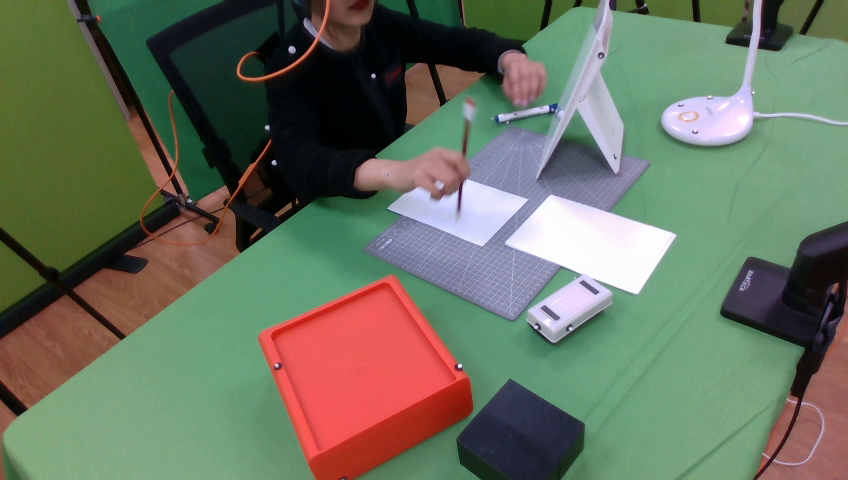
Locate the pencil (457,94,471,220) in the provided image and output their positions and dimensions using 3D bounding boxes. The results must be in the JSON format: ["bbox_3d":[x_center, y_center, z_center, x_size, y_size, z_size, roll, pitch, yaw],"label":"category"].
[{"bbox_3d":[0.058,-0.118,0.893,0.012,0.194,0.012,2,25,-1],"label":"pencil"}]

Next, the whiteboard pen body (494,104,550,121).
[{"bbox_3d":[0.216,-0.267,1.256,0.141,0.017,0.017,-12,40,-4],"label":"whiteboard pen body"}]

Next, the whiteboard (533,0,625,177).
[{"bbox_3d":[0.321,-0.258,1.049,0.144,0.306,0.217,20,45,4],"label":"whiteboard"}]

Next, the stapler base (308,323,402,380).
[{"bbox_3d":[-0.094,0.142,0.812,0.131,0.024,0.041,-25,29,-17],"label":"stapler base"}]

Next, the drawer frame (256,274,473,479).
[{"bbox_3d":[-0.078,0.164,0.756,0.202,0.083,0.211,-23,43,-17],"label":"drawer frame"}]

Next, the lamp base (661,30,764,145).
[{"bbox_3d":[0.535,-0.287,1.096,0.179,0.181,0.159,-10,40,-4],"label":"lamp base"}]

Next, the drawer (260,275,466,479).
[{"bbox_3d":[-0.080,0.162,0.759,0.195,0.073,0.210,-22,42,-16],"label":"drawer"}]

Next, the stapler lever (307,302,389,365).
[{"bbox_3d":[-0.101,0.121,0.799,0.118,0.040,0.026,-25,29,-17],"label":"stapler lever"}]

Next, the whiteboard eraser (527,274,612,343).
[{"bbox_3d":[0.198,0.094,0.820,0.113,0.042,0.055,-30,43,-22],"label":"whiteboard eraser"}]

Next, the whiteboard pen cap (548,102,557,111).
[{"bbox_3d":[0.273,-0.279,1.259,0.033,0.018,0.018,-9,40,-5],"label":"whiteboard pen cap"}]
